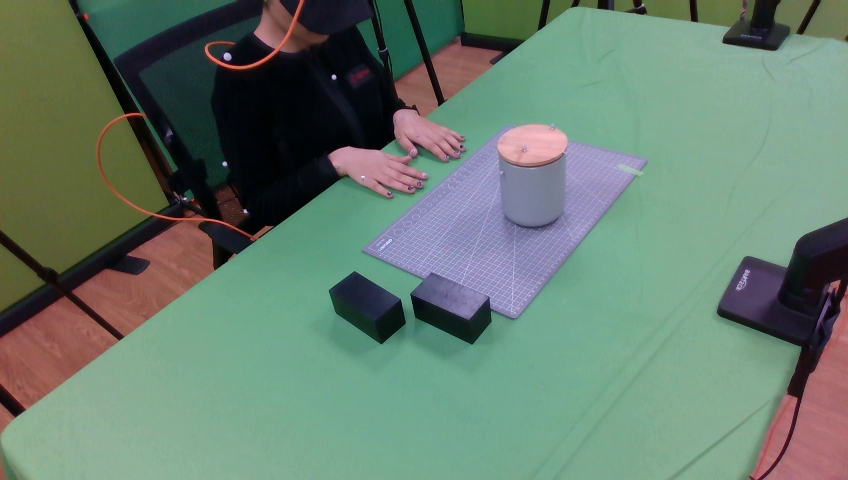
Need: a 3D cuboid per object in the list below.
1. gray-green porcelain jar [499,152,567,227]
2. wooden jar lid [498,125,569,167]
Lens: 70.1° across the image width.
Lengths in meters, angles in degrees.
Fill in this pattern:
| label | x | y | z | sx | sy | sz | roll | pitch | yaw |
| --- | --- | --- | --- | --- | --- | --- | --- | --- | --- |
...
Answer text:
| label | x | y | z | sx | sy | sz | roll | pitch | yaw |
| --- | --- | --- | --- | --- | --- | --- | --- | --- | --- |
| gray-green porcelain jar | 0.177 | -0.093 | 0.974 | 0.106 | 0.127 | 0.105 | -5 | 40 | 5 |
| wooden jar lid | 0.168 | -0.142 | 0.933 | 0.108 | 0.021 | 0.108 | -5 | 41 | 4 |
